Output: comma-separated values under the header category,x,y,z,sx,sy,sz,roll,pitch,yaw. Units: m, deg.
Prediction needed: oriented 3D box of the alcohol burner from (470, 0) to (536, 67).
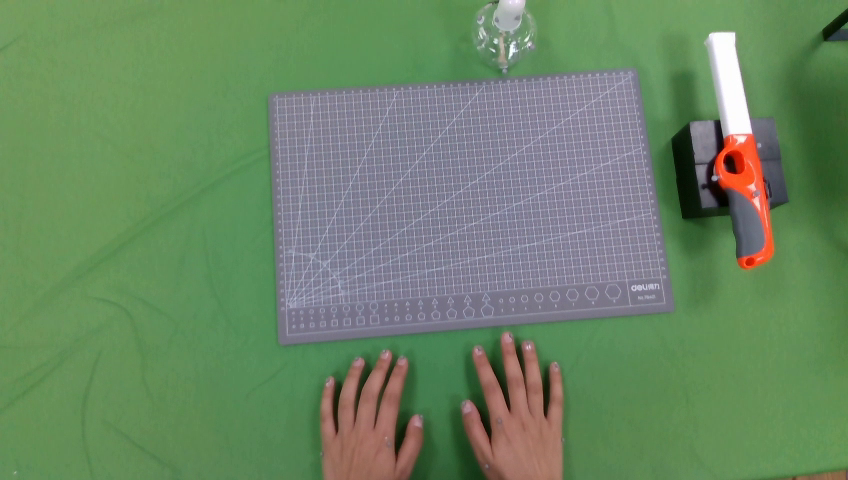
category,x,y,z,sx,sy,sz,roll,pitch,yaw
alcohol burner,0.094,-0.249,0.695,0.078,0.119,0.077,1,80,-3

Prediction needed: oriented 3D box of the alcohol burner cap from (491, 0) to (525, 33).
category,x,y,z,sx,sy,sz,roll,pitch,yaw
alcohol burner cap,0.094,-0.255,0.665,0.034,0.048,0.033,1,78,-4

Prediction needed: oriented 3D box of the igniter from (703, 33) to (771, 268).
category,x,y,z,sx,sy,sz,roll,pitch,yaw
igniter,0.346,-0.104,0.672,0.057,0.025,0.275,-1,76,-2
